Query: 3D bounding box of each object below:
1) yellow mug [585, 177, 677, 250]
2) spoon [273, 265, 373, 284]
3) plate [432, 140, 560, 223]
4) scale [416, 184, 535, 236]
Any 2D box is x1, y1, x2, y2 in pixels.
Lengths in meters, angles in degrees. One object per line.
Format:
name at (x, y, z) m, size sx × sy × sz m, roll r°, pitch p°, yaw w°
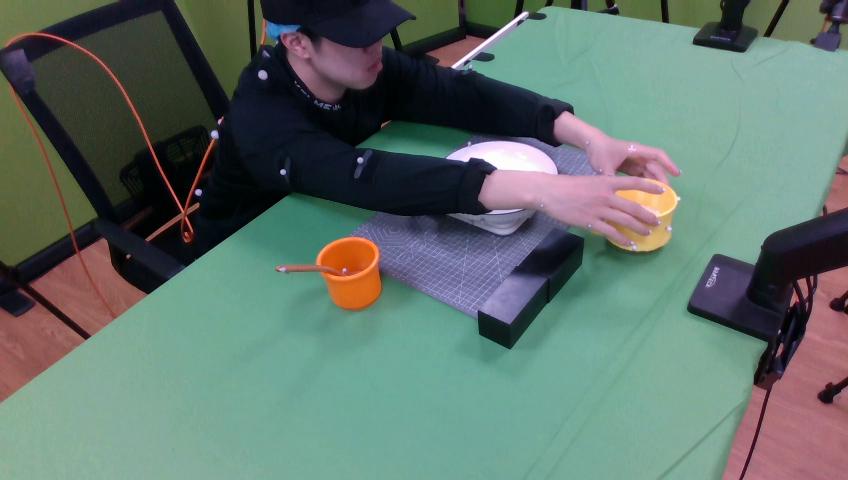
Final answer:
yellow mug at (0.307, -0.038, 0.908) m, size 0.131 × 0.064 × 0.099 m, roll -9°, pitch 40°, yaw 1°
spoon at (-0.136, 0.045, 0.839) m, size 0.041 × 0.195 × 0.021 m, roll 18°, pitch 91°, yaw 33°
plate at (0.118, -0.094, 0.999) m, size 0.209 × 0.038 × 0.208 m, roll -5°, pitch 41°, yaw 5°
scale at (0.099, -0.079, 1.035) m, size 0.199 × 0.032 × 0.149 m, roll 23°, pitch 49°, yaw 31°
